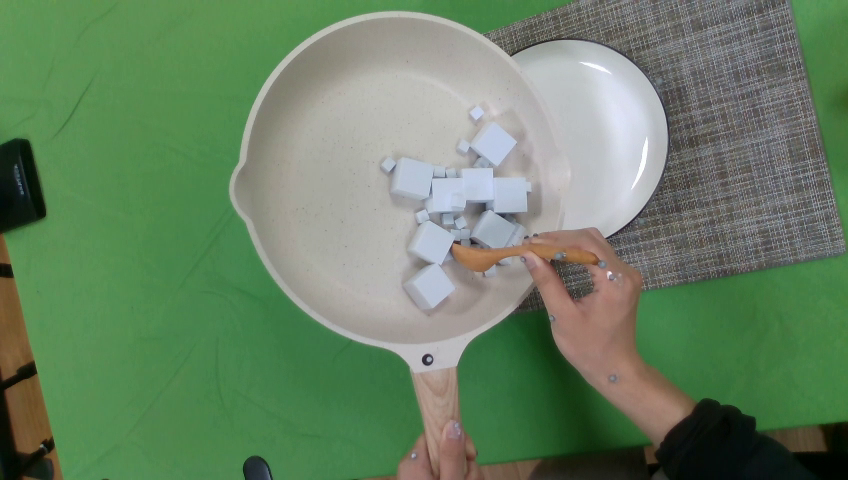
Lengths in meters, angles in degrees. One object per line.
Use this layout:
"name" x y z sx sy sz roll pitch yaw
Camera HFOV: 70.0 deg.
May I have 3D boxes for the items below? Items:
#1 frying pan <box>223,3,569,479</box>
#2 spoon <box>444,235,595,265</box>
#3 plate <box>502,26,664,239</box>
"frying pan" -0.006 0.045 0.536 0.308 0.102 0.486 -5 83 -16
"spoon" 0.072 0.006 0.508 0.042 0.193 0.021 43 68 -21
"plate" 0.131 -0.104 0.612 0.207 0.039 0.208 2 96 19
